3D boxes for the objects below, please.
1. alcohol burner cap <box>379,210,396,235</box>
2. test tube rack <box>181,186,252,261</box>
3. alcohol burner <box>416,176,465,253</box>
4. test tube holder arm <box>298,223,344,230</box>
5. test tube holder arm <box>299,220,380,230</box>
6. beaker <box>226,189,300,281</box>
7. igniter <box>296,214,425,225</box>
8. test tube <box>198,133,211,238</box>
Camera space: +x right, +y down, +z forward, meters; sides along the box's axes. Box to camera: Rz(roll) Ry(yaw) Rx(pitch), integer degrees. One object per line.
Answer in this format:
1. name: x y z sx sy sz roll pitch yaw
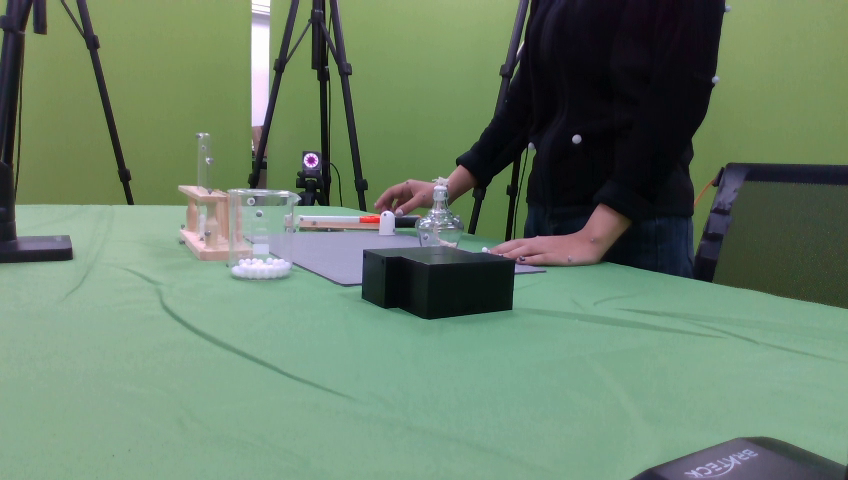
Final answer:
1. alcohol burner cap: -0.067 -0.033 1.130 0.034 0.048 0.034 1 8 0
2. test tube rack: -0.312 -0.031 0.893 0.067 0.085 0.241 -1 8 -27
3. alcohol burner: 0.025 -0.040 0.935 0.078 0.119 0.078 1 6 0
4. test tube holder arm: -0.197 -0.026 1.163 0.088 0.015 0.010 0 -27 -19
5. test tube holder arm: -0.153 -0.028 1.174 0.179 0.015 0.013 1 -27 -21
6. beaker: -0.184 -0.007 0.694 0.084 0.100 0.073 -1 8 -29
7. igniter: -0.129 -0.043 1.273 0.278 0.025 0.057 -1 -2 -26
8. test tube: -0.316 -0.078 0.871 0.017 0.150 0.017 2 3 0
